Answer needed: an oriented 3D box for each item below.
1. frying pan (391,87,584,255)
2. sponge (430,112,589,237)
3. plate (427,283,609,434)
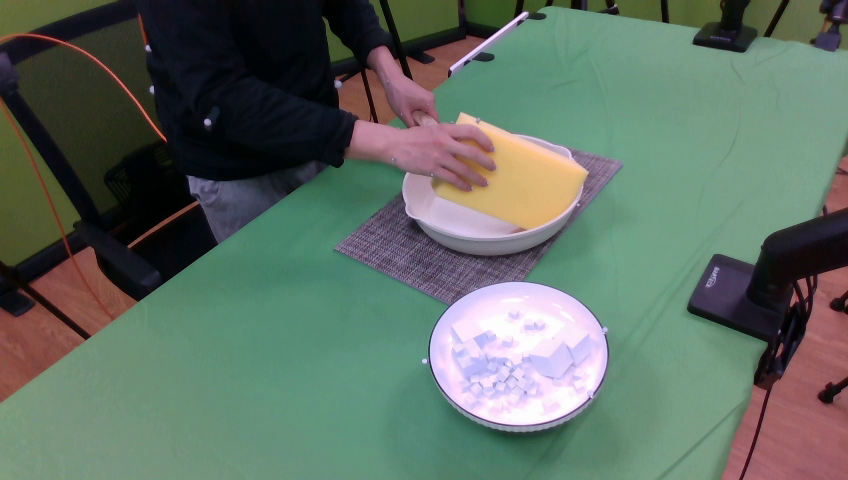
[{"bbox_3d":[0.063,-0.143,1.056,0.308,0.103,0.483,-22,51,-18],"label":"frying pan"},{"bbox_3d":[0.128,-0.095,0.909,0.208,0.118,0.060,19,21,-20],"label":"sponge"},{"bbox_3d":[0.108,0.137,0.708,0.207,0.039,0.206,-4,42,4],"label":"plate"}]
